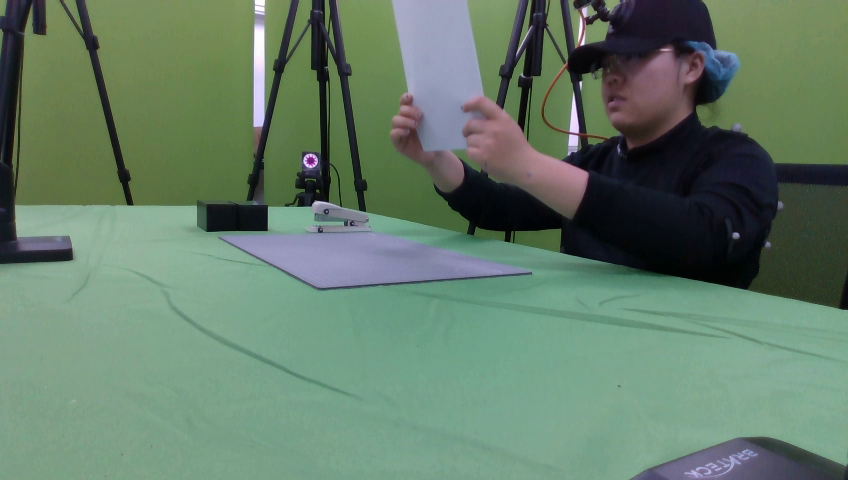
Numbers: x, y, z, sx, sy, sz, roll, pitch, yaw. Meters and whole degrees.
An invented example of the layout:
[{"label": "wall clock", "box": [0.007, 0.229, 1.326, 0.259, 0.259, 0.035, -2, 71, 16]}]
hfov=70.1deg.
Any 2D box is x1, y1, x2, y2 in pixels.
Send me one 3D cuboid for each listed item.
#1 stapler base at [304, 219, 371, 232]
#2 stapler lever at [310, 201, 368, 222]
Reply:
[{"label": "stapler base", "box": [-0.169, -0.030, 1.186, 0.131, 0.024, 0.041, 0, 9, -33]}, {"label": "stapler lever", "box": [-0.166, -0.055, 1.185, 0.119, 0.040, 0.026, 0, 9, -33]}]
